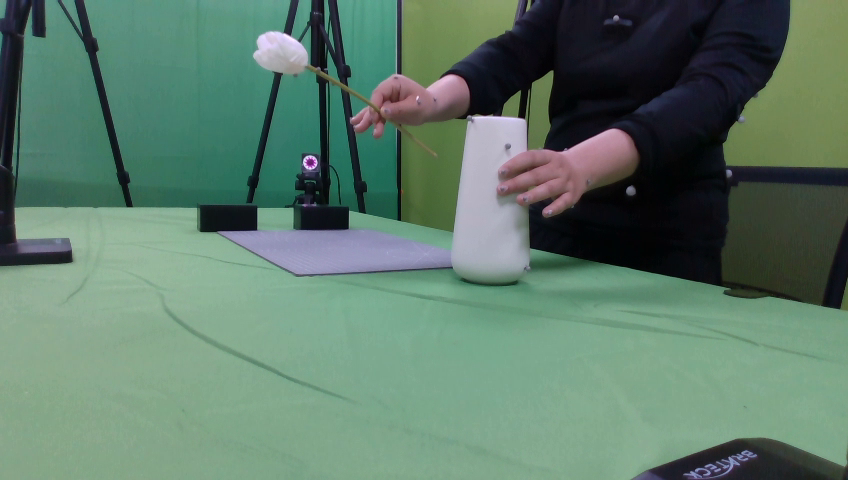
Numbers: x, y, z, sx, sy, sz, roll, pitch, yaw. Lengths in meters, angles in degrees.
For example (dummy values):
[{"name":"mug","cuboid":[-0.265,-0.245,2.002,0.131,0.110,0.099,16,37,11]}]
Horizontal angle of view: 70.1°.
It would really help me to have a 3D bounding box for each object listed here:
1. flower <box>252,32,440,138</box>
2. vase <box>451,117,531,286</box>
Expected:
[{"name":"flower","cuboid":[-0.078,-0.189,0.811,0.364,0.044,0.038,14,33,-55]},{"name":"vase","cuboid":[0.083,-0.047,0.737,0.098,0.200,0.098,1,6,0]}]
